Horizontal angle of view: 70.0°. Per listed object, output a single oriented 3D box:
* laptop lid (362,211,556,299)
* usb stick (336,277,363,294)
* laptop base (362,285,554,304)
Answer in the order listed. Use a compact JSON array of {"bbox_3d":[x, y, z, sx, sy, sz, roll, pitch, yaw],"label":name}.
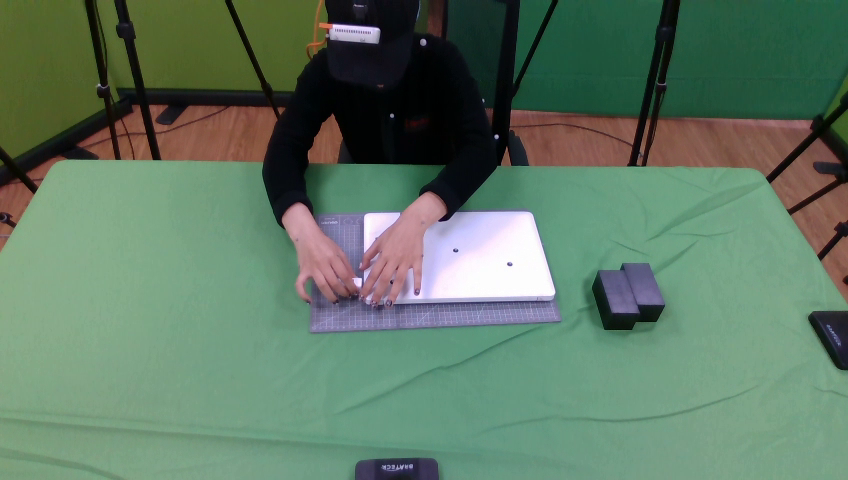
[{"bbox_3d":[0.059,0.022,1.168,0.357,0.013,0.240,0,44,-4],"label":"laptop lid"},{"bbox_3d":[-0.128,0.083,1.094,0.059,0.027,0.021,2,43,-6],"label":"usb stick"},{"bbox_3d":[0.059,0.032,1.174,0.355,0.023,0.234,-1,43,-5],"label":"laptop base"}]
